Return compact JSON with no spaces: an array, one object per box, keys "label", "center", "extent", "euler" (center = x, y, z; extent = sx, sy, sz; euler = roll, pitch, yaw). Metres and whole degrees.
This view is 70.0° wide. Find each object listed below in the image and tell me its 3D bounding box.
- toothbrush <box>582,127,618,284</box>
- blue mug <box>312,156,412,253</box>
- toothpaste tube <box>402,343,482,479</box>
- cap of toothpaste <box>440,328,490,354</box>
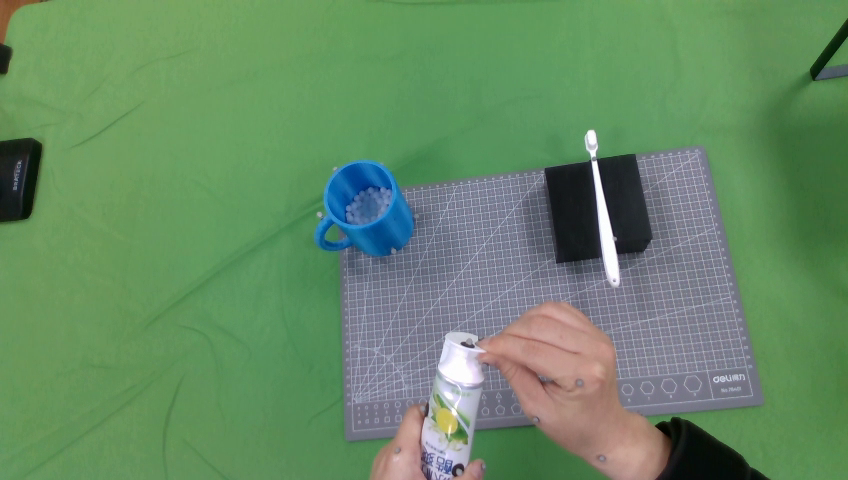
[{"label":"toothbrush","center":[0.192,-0.040,0.658],"extent":[0.014,0.017,0.180],"euler":[-5,73,1]},{"label":"blue mug","center":[-0.077,-0.029,0.701],"extent":[0.116,0.106,0.082],"euler":[-34,71,-2]},{"label":"toothpaste tube","center":[0.012,0.149,0.451],"extent":[0.054,0.035,0.165],"euler":[19,105,31]},{"label":"cap of toothpaste","center":[0.028,0.073,0.431],"extent":[0.037,0.037,0.011],"euler":[9,97,12]}]
